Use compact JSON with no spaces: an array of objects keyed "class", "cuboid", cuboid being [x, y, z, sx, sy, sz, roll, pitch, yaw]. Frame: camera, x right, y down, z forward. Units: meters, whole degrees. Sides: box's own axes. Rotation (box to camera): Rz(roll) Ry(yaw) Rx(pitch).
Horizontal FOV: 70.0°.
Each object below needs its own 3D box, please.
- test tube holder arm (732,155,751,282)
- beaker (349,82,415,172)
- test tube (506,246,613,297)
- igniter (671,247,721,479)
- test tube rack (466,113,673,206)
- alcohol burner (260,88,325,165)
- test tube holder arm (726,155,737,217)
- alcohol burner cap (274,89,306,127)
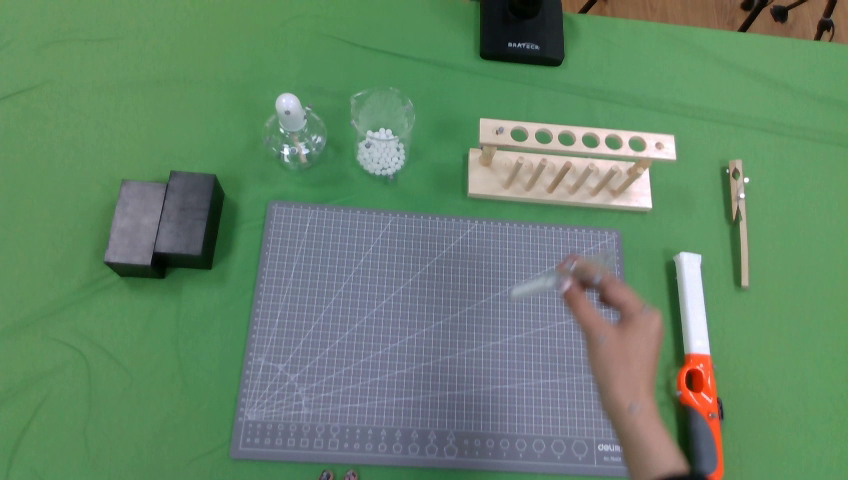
[{"class":"test tube holder arm","cuboid":[0.419,-0.031,0.802,0.013,0.015,0.177,-8,67,28]},{"class":"beaker","cuboid":[-0.056,-0.136,0.744,0.084,0.101,0.074,31,69,6]},{"class":"test tube","cuboid":[0.119,0.032,0.559,0.017,0.150,0.017,7,71,-23]},{"class":"igniter","cuboid":[0.324,0.140,0.727,0.057,0.025,0.274,9,69,-14]},{"class":"test tube rack","cuboid":[0.180,-0.099,0.765,0.243,0.085,0.066,4,69,-5]},{"class":"alcohol burner","cuboid":[-0.159,-0.141,0.726,0.078,0.120,0.077,2,68,-5]},{"class":"test tube holder arm","cuboid":[0.417,-0.073,0.820,0.010,0.015,0.087,-6,68,29]},{"class":"alcohol burner cap","cuboid":[-0.155,-0.153,0.692,0.034,0.048,0.033,1,75,-3]}]
